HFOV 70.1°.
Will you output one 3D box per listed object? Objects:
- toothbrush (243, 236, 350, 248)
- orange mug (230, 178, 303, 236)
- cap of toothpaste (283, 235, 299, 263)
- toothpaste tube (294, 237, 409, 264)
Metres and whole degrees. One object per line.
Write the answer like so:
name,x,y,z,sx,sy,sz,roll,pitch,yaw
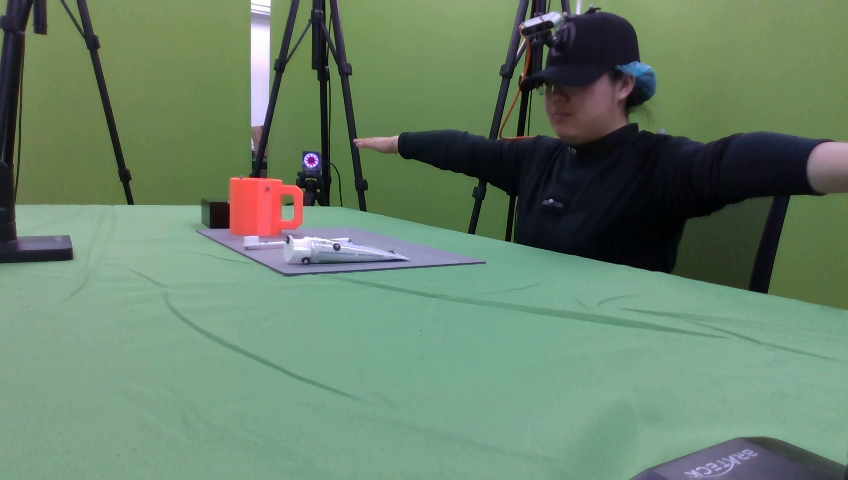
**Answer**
toothbrush,-0.191,0.001,0.927,0.183,0.016,0.014,-2,-7,-41
orange mug,-0.275,-0.060,1.058,0.126,0.101,0.083,-2,8,-5
cap of toothpaste,-0.168,0.012,0.764,0.011,0.037,0.037,3,5,-34
toothpaste tube,-0.101,0.016,0.807,0.166,0.034,0.055,3,12,-34
